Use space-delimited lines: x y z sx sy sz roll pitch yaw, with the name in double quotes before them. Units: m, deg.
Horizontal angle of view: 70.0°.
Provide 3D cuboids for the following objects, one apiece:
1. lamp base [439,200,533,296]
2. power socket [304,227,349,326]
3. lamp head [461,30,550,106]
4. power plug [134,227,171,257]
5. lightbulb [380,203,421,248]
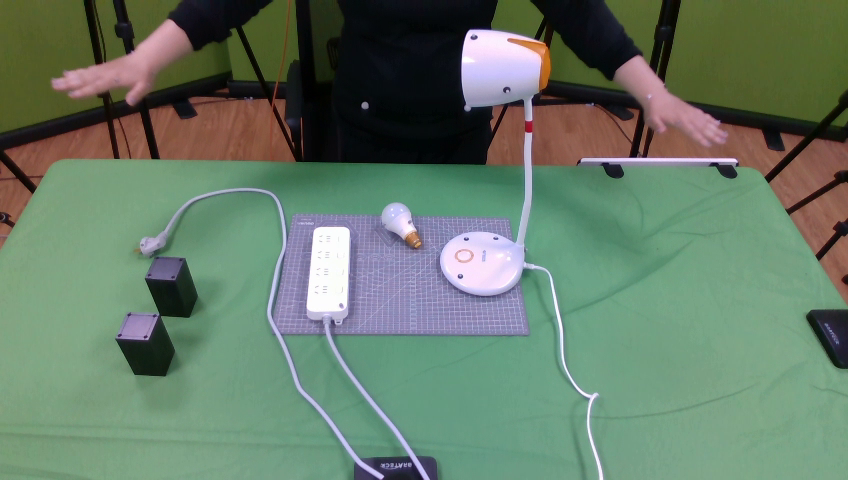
"lamp base" 0.126 -0.010 1.103 0.179 0.181 0.159 2 46 -6
"power socket" -0.177 0.059 1.115 0.072 0.033 0.225 -1 46 -4
"lamp head" 0.122 -0.250 0.892 0.123 0.113 0.112 8 45 13
"power plug" -0.514 0.006 1.152 0.052 0.035 0.072 -6 22 8
"lightbulb" -0.043 -0.026 1.197 0.059 0.060 0.107 -29 69 -28
